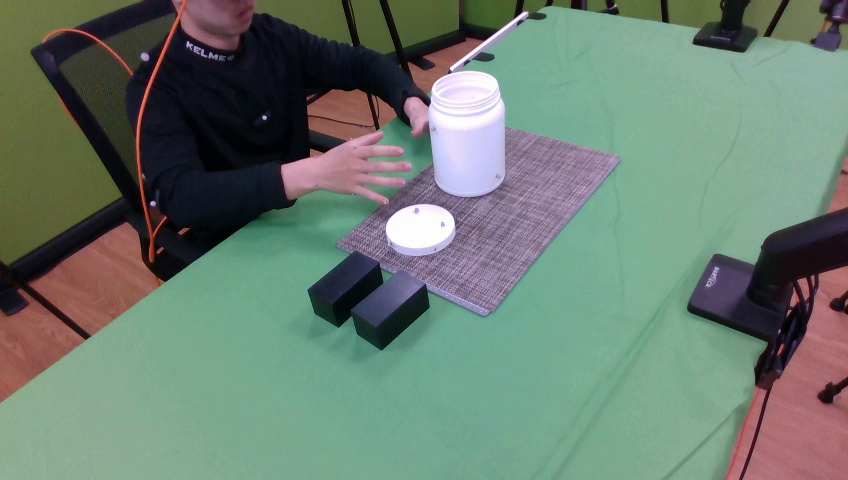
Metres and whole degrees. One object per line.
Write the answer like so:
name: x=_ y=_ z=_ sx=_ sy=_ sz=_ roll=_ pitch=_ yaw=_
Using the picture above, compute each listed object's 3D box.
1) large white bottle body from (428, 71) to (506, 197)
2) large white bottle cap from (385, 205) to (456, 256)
large white bottle body: x=0.075 y=-0.181 z=1.038 sx=0.130 sy=0.185 sz=0.130 roll=-4 pitch=41 yaw=4
large white bottle cap: x=-0.006 y=-0.018 z=0.987 sx=0.115 sy=0.018 sz=0.114 roll=-4 pitch=40 yaw=4
